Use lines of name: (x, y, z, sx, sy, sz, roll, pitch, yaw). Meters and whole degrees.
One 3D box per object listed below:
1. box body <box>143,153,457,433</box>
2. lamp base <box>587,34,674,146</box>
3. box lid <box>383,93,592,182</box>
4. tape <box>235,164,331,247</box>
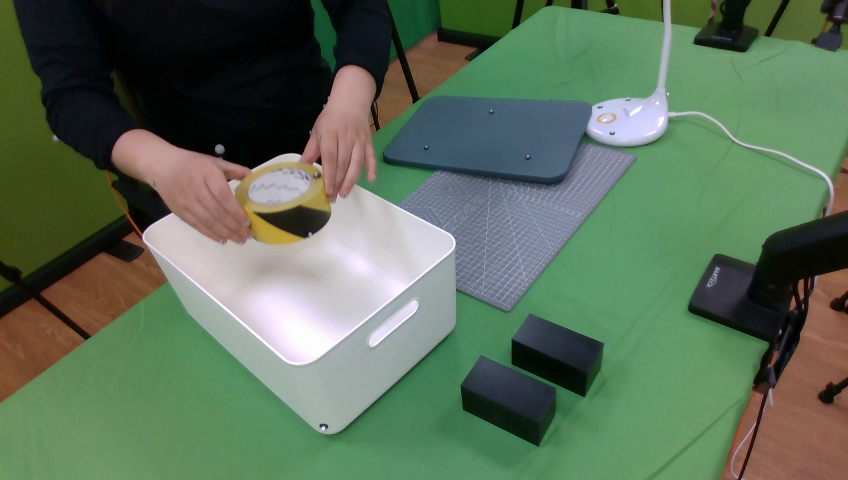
box body: (-0.158, 0.054, 0.819, 0.361, 0.161, 0.255, 29, 52, 34)
lamp base: (0.392, -0.291, 1.129, 0.180, 0.181, 0.159, -11, 41, -8)
box lid: (0.128, -0.211, 1.193, 0.369, 0.015, 0.263, 9, 45, 22)
tape: (-0.177, -0.045, 0.769, 0.117, 0.053, 0.116, -5, 40, 4)
